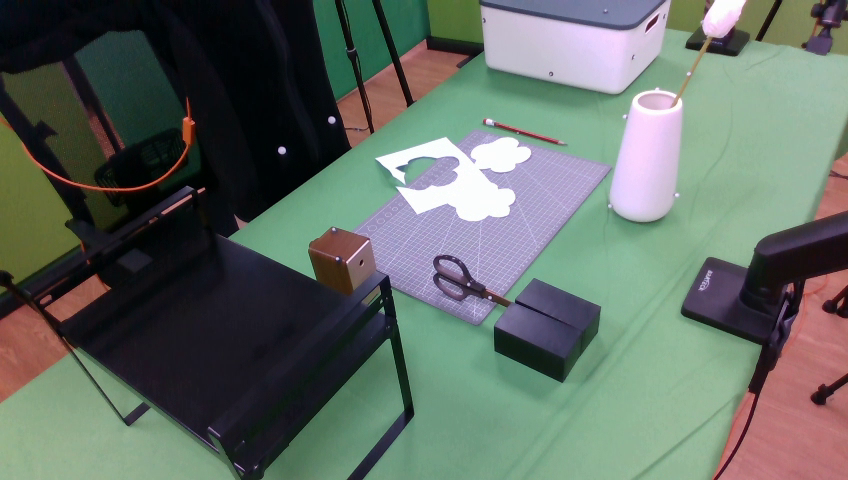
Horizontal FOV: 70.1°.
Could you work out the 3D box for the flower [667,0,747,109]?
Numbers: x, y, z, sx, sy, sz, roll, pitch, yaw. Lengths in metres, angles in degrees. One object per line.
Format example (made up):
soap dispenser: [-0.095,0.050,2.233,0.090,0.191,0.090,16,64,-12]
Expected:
flower: [0.354,-0.187,0.879,0.038,0.362,0.044,30,48,14]

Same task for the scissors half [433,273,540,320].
scissors half: [0.084,0.081,0.839,0.174,0.040,0.013,17,38,36]

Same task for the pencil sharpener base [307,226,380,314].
pencil sharpener base: [-0.116,0.043,0.875,0.076,0.107,0.061,18,47,27]

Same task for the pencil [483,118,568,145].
pencil: [0.201,-0.217,1.212,0.192,0.012,0.012,24,49,29]

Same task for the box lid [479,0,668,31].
box lid: [0.335,-0.536,1.331,0.368,0.015,0.264,23,49,30]

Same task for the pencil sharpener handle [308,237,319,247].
pencil sharpener handle: [-0.158,0.017,0.892,0.030,0.068,0.036,18,61,28]

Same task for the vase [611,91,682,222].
vase: [0.348,-0.125,0.935,0.098,0.201,0.097,-3,40,3]

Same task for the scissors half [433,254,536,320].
scissors half: [0.083,0.065,0.827,0.174,0.040,0.013,31,51,23]

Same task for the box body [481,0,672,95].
box body: [0.341,-0.480,1.381,0.361,0.161,0.255,22,48,30]
